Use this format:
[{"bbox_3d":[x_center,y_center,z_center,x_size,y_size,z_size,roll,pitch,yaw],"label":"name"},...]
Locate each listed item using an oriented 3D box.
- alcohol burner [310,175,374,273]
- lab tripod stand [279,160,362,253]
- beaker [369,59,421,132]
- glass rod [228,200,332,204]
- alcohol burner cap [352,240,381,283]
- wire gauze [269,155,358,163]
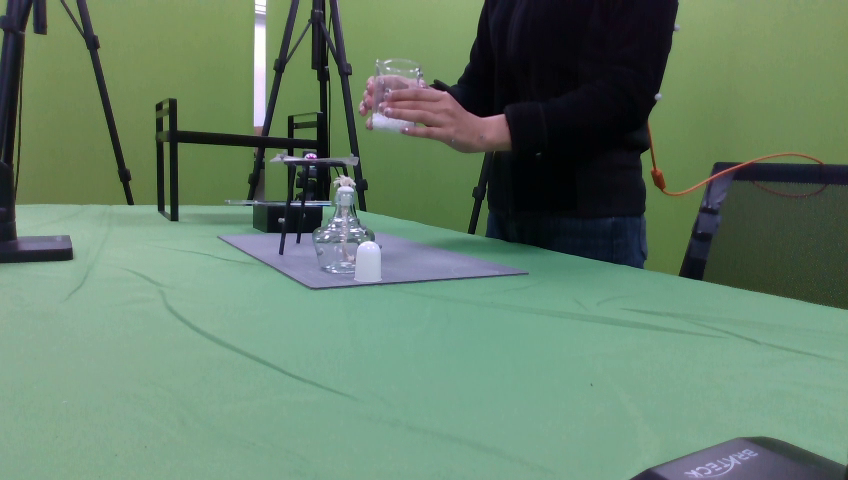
[{"bbox_3d":[-0.100,-0.020,0.740,0.078,0.119,0.078,1,6,0],"label":"alcohol burner"},{"bbox_3d":[-0.166,-0.052,0.897,0.148,0.131,0.148,0,7,0],"label":"lab tripod stand"},{"bbox_3d":[-0.047,-0.219,0.921,0.073,0.100,0.084,7,7,26],"label":"beaker"},{"bbox_3d":[-0.269,-0.072,1.149,0.201,0.008,0.008,-1,8,-30],"label":"glass rod"},{"bbox_3d":[-0.065,0.023,0.690,0.034,0.048,0.034,2,8,0],"label":"alcohol burner cap"},{"bbox_3d":[-0.159,-0.118,0.886,0.122,0.011,0.125,1,7,-9],"label":"wire gauze"}]
